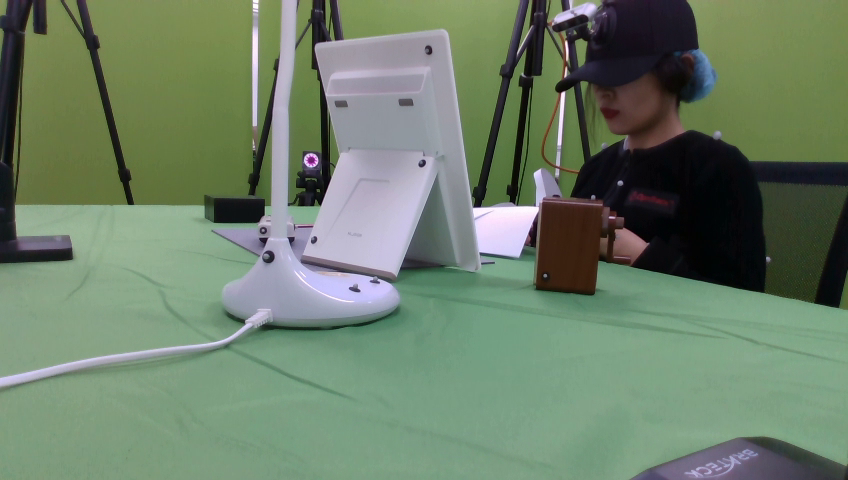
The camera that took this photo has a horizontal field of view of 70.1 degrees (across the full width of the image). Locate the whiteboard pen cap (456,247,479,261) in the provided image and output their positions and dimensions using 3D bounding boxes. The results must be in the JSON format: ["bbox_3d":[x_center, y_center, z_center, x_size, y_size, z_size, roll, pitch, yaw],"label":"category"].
[{"bbox_3d":[0.060,0.020,0.851,0.033,0.018,0.018,10,10,37],"label":"whiteboard pen cap"}]

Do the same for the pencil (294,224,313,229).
[{"bbox_3d":[-0.221,-0.028,1.211,0.195,0.012,0.012,-5,10,-34],"label":"pencil"}]

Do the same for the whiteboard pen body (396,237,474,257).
[{"bbox_3d":[0.014,0.012,0.886,0.140,0.017,0.017,9,10,38],"label":"whiteboard pen body"}]

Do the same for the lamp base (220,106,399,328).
[{"bbox_3d":[-0.101,-0.023,0.531,0.160,0.180,0.179,4,10,10],"label":"lamp base"}]

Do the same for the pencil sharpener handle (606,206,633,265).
[{"bbox_3d":[0.222,-0.004,0.683,0.030,0.068,0.036,5,21,16],"label":"pencil sharpener handle"}]

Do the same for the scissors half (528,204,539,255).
[{"bbox_3d":[0.197,-0.018,1.079,0.012,0.040,0.175,29,-21,25],"label":"scissors half"}]

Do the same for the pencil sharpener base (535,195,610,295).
[{"bbox_3d":[0.172,0.005,0.695,0.076,0.107,0.061,5,7,16],"label":"pencil sharpener base"}]

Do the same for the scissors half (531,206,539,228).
[{"bbox_3d":[0.209,-0.036,1.083,0.013,0.040,0.176,24,-2,23],"label":"scissors half"}]

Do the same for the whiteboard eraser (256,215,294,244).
[{"bbox_3d":[-0.232,-0.016,0.951,0.056,0.042,0.112,2,7,-12],"label":"whiteboard eraser"}]

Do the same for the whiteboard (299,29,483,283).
[{"bbox_3d":[-0.074,-0.082,0.742,0.216,0.305,0.144,9,30,38],"label":"whiteboard"}]
